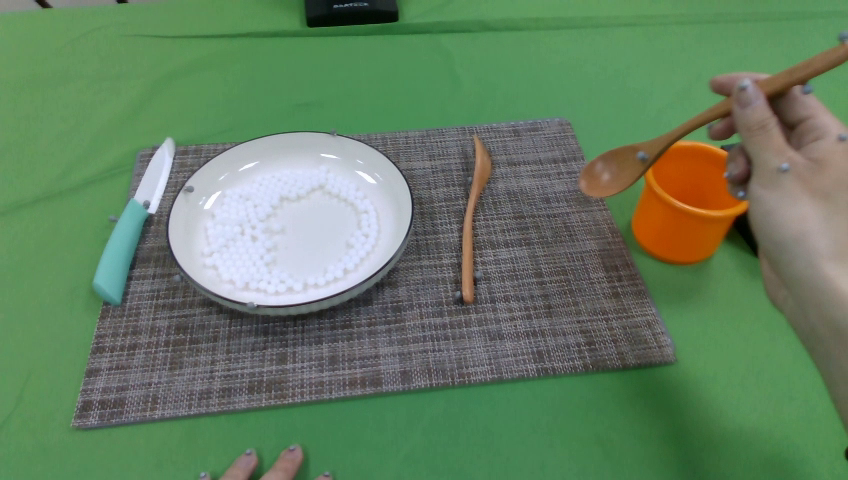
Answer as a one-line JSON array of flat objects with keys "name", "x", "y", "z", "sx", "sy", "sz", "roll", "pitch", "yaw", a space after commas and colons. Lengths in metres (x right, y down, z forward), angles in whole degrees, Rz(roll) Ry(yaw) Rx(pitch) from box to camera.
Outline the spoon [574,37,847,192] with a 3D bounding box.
[{"name": "spoon", "x": 0.178, "y": -0.079, "z": 0.406, "sx": 0.022, "sy": 0.193, "sz": 0.041, "roll": 18, "pitch": 63, "yaw": -27}]

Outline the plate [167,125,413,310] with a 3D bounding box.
[{"name": "plate", "x": -0.113, "y": -0.022, "z": 0.533, "sx": 0.209, "sy": 0.038, "sz": 0.207, "roll": 1, "pitch": 50, "yaw": -1}]

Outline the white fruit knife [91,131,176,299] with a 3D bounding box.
[{"name": "white fruit knife", "x": -0.260, "y": -0.034, "z": 0.554, "sx": 0.027, "sy": 0.016, "sz": 0.205, "roll": 21, "pitch": 44, "yaw": -22}]

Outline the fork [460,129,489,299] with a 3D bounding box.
[{"name": "fork", "x": 0.045, "y": -0.032, "z": 0.558, "sx": 0.018, "sy": 0.028, "sz": 0.205, "roll": -13, "pitch": 47, "yaw": 28}]
